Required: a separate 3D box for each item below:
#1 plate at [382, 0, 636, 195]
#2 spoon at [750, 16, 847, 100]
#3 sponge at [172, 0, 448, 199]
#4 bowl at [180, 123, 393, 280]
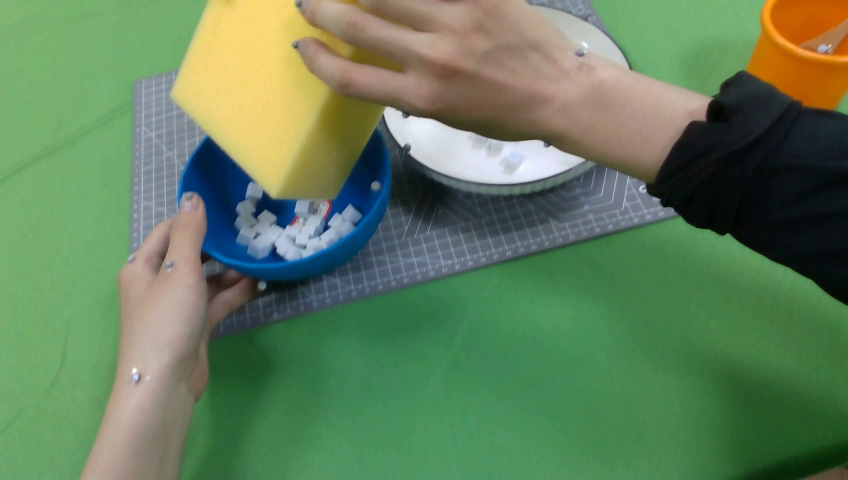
[{"bbox_3d":[0.068,-0.120,0.511,0.209,0.038,0.207,-3,59,5],"label":"plate"},{"bbox_3d":[0.338,-0.176,0.452,0.022,0.194,0.041,7,52,-43],"label":"spoon"},{"bbox_3d":[-0.063,-0.142,0.377,0.117,0.061,0.207,41,112,21],"label":"sponge"},{"bbox_3d":[-0.091,-0.027,0.452,0.151,0.077,0.150,-4,60,7],"label":"bowl"}]
